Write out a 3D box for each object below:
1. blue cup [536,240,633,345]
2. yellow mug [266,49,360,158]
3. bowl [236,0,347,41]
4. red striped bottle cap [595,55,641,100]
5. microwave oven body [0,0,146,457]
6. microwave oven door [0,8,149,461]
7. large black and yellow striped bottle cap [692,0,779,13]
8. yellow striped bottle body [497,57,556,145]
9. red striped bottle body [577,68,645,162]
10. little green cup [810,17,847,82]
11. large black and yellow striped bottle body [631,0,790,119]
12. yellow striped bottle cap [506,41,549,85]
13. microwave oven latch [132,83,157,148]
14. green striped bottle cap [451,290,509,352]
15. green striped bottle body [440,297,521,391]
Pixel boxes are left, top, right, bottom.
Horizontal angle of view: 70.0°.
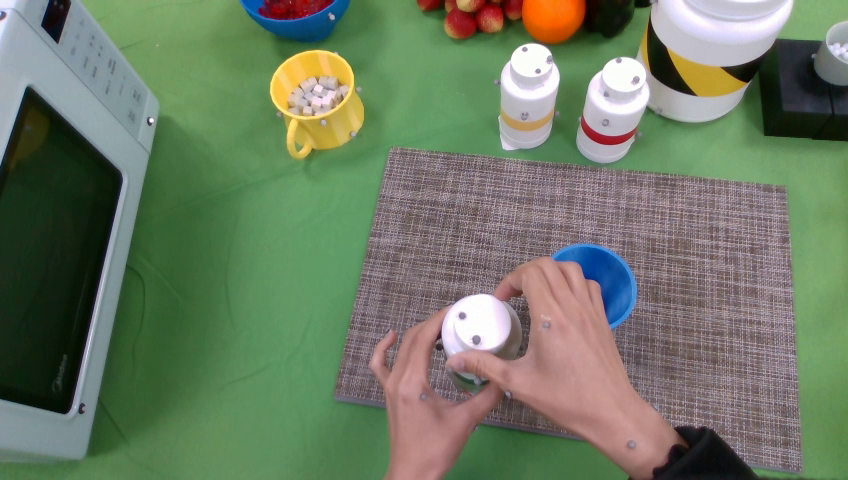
[{"bbox_3d":[0.146,0.059,0.583,0.092,0.101,0.092,-1,66,3],"label":"blue cup"},{"bbox_3d":[-0.137,-0.157,0.727,0.099,0.064,0.130,17,70,11],"label":"yellow mug"},{"bbox_3d":[-0.163,-0.316,0.792,0.151,0.077,0.150,-2,67,4],"label":"bowl"},{"bbox_3d":[0.197,-0.165,0.612,0.044,0.018,0.044,0,66,1],"label":"red striped bottle cap"},{"bbox_3d":[-0.506,-0.023,0.594,0.326,0.262,0.438,-2,67,4],"label":"microwave oven body"},{"bbox_3d":[-0.362,0.009,0.561,0.039,0.246,0.353,-2,66,5],"label":"microwave oven door"},{"bbox_3d":[0.296,-0.266,0.577,0.115,0.019,0.114,-2,65,5],"label":"large black and yellow striped bottle cap"},{"bbox_3d":[0.113,-0.164,0.677,0.063,0.121,0.062,-2,66,5],"label":"yellow striped bottle body"},{"bbox_3d":[0.203,-0.142,0.660,0.063,0.121,0.062,-4,63,8],"label":"red striped bottle body"},{"bbox_3d":[0.452,-0.203,0.652,0.061,0.039,0.061,-1,65,3],"label":"little green cup"},{"bbox_3d":[0.305,-0.233,0.655,0.130,0.185,0.130,-2,66,5],"label":"large black and yellow striped bottle body"},{"bbox_3d":[0.108,-0.185,0.630,0.044,0.019,0.044,-2,68,4],"label":"yellow striped bottle cap"},{"bbox_3d":[-0.350,-0.152,0.740,0.030,0.030,0.078,0,67,5],"label":"microwave oven latch"},{"bbox_3d":[0.042,0.060,0.451,0.044,0.020,0.044,-1,66,3],"label":"green striped bottle cap"},{"bbox_3d":[0.045,0.083,0.498,0.063,0.120,0.062,-1,66,3],"label":"green striped bottle body"}]
